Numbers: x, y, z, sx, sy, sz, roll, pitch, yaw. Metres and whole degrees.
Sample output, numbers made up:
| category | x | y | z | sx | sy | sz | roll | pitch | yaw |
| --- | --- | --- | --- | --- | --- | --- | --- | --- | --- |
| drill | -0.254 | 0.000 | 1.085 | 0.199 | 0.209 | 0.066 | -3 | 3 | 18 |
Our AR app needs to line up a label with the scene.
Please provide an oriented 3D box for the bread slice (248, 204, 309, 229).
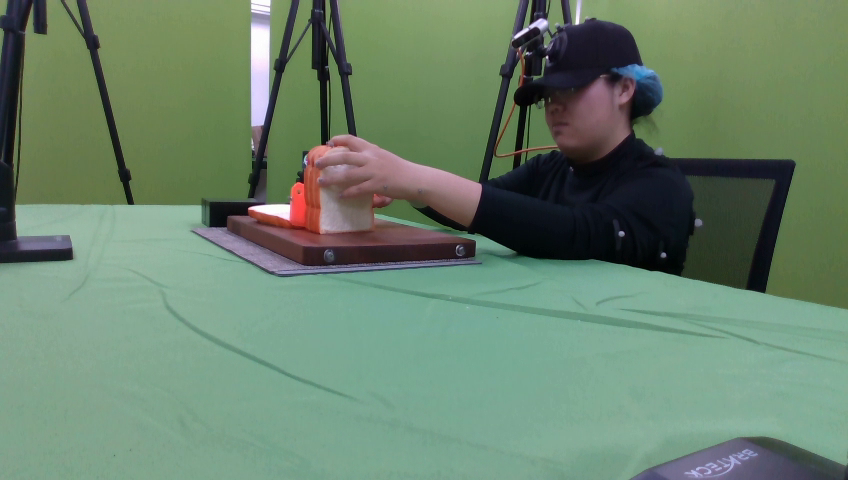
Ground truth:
| category | x | y | z | sx | sy | sz | roll | pitch | yaw |
| --- | --- | --- | --- | --- | --- | --- | --- | --- | --- |
| bread slice | -0.224 | -0.040 | 1.007 | 0.131 | 0.019 | 0.105 | 15 | 14 | 36 |

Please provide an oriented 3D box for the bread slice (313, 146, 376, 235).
| category | x | y | z | sx | sy | sz | roll | pitch | yaw |
| --- | --- | --- | --- | --- | --- | --- | --- | --- | --- |
| bread slice | -0.122 | -0.074 | 0.916 | 0.107 | 0.134 | 0.018 | -7 | 8 | -41 |

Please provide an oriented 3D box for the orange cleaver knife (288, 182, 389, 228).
| category | x | y | z | sx | sy | sz | roll | pitch | yaw |
| --- | --- | --- | --- | --- | --- | --- | --- | --- | --- |
| orange cleaver knife | -0.136 | -0.060 | 0.997 | 0.012 | 0.077 | 0.212 | -7 | 1 | 44 |
